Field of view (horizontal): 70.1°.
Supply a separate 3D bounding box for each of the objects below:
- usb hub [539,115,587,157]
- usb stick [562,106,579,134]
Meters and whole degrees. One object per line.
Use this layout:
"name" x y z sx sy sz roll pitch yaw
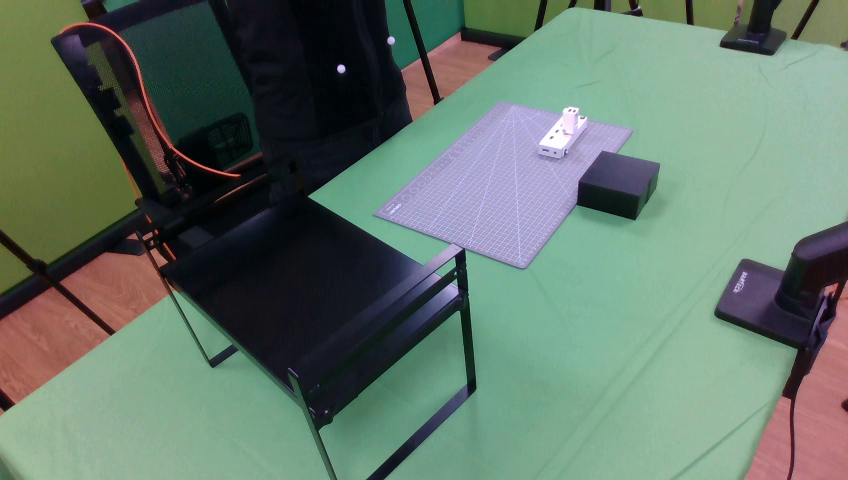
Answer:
"usb hub" 0.269 -0.203 1.164 0.049 0.025 0.125 19 48 27
"usb stick" 0.274 -0.218 1.132 0.027 0.059 0.021 19 46 24
